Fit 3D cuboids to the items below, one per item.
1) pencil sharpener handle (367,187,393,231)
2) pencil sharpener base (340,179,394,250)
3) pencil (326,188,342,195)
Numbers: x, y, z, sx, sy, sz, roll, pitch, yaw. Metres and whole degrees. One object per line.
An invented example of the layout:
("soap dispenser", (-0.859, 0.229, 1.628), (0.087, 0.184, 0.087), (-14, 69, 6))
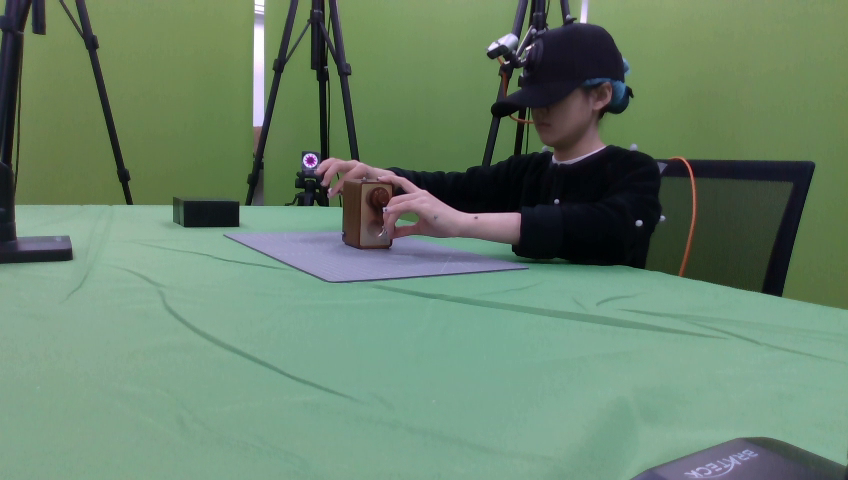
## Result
("pencil sharpener handle", (-0.062, -0.046, 0.917), (0.036, 0.068, 0.030), (-17, 17, -27))
("pencil sharpener base", (-0.091, -0.041, 0.960), (0.061, 0.107, 0.076), (-1, 9, -30))
("pencil", (-0.129, -0.077, 1.026), (0.012, 0.012, 0.193), (-1, 8, -29))
